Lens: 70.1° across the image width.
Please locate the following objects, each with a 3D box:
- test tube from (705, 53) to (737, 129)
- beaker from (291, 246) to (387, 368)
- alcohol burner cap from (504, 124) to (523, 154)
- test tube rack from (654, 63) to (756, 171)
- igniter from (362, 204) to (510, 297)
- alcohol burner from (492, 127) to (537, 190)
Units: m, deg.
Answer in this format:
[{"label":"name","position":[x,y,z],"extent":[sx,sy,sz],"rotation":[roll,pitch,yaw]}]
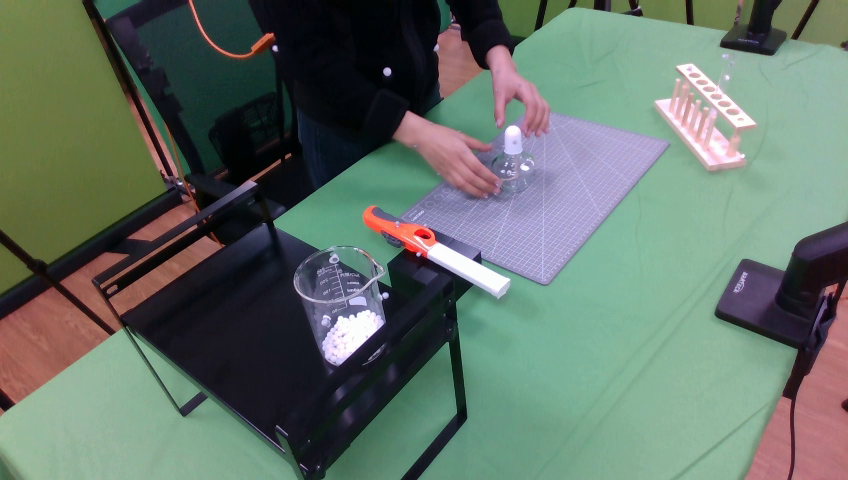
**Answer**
[{"label":"test tube","position":[0.526,-0.261,1.074],"extent":[0.017,0.151,0.017],"rotation":[-2,44,2]},{"label":"beaker","position":[-0.073,0.066,0.573],"extent":[0.084,0.101,0.073],"rotation":[-7,41,0]},{"label":"alcohol burner cap","position":[0.151,-0.172,1.022],"extent":[0.034,0.048,0.033],"rotation":[-4,36,4]},{"label":"test tube rack","position":[0.510,-0.233,1.120],"extent":[0.067,0.085,0.241],"rotation":[-8,41,-1]},{"label":"igniter","position":[0.007,0.009,0.887],"extent":[0.274,0.025,0.057],"rotation":[29,50,32]},{"label":"alcohol burner","position":[0.156,-0.146,1.045],"extent":[0.078,0.119,0.077],"rotation":[-4,44,4]}]
